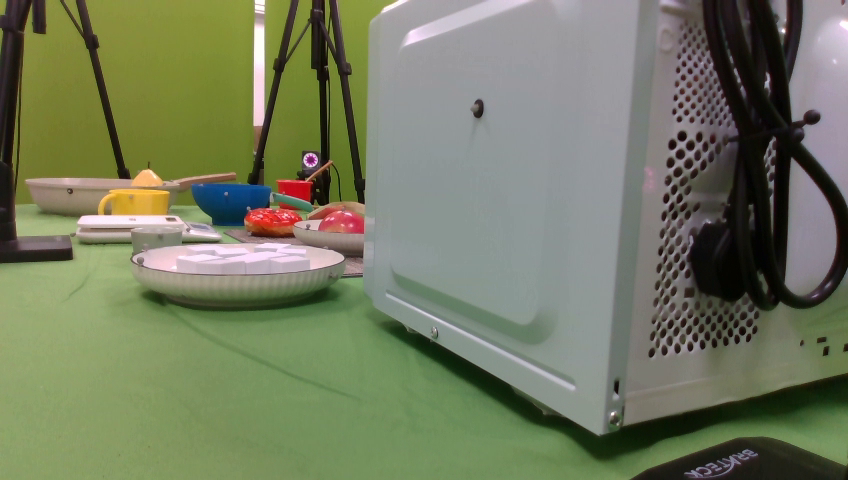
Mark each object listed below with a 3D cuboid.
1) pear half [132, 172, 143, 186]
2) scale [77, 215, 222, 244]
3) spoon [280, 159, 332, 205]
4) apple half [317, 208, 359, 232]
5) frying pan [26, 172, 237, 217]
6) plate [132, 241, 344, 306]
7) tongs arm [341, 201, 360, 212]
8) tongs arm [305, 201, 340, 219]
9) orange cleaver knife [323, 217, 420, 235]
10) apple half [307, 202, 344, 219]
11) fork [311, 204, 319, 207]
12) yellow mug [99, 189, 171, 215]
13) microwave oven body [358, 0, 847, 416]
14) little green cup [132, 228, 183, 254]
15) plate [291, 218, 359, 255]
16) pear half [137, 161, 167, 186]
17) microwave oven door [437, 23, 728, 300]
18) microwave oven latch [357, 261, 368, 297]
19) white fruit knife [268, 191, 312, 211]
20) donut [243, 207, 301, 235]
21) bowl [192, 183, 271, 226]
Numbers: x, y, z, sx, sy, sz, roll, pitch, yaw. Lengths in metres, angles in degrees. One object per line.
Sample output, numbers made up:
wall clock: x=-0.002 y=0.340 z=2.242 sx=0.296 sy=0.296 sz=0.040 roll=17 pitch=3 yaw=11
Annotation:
pear half: x=-0.638 y=-0.113 z=1.361 sx=0.031 sy=0.088 sz=0.070 roll=5 pitch=11 yaw=4
scale: x=-0.434 y=-0.019 z=0.963 sx=0.202 sy=0.031 sz=0.148 roll=-1 pitch=9 yaw=-27
spoon: x=-0.316 y=-0.159 z=1.640 sx=0.194 sy=0.022 sz=0.041 roll=-50 pitch=32 yaw=-20
apple half: x=-0.122 y=-0.020 z=0.901 sx=0.080 sy=0.053 sz=0.075 roll=5 pitch=11 yaw=22
frying pan: x=-0.624 y=-0.118 z=1.387 sx=0.305 sy=0.102 sz=0.490 roll=8 pitch=17 yaw=32
plate: x=-0.187 y=0.033 z=0.625 sx=0.208 sy=0.039 sz=0.207 roll=2 pitch=8 yaw=0
tongs arm: x=-0.149 y=-0.069 z=1.429 sx=0.051 sy=0.026 sz=0.383 roll=-4 pitch=8 yaw=-15
tongs arm: x=-0.235 y=-0.067 z=1.414 sx=0.028 sy=0.028 sz=0.387 roll=-5 pitch=7 yaw=1
orange cleaver knife: x=-0.096 y=-0.028 z=1.151 sx=0.077 sy=0.012 sz=0.212 roll=8 pitch=14 yaw=41
apple half: x=-0.193 y=-0.047 z=1.223 sx=0.081 sy=0.032 sz=0.081 roll=-22 pitch=-6 yaw=-2
fork: x=-0.356 y=-0.105 z=1.526 sx=0.208 sy=0.018 sz=0.028 roll=16 pitch=-5 yaw=-41
yellow mug: x=-0.518 y=-0.055 z=1.080 sx=0.099 sy=0.064 sz=0.131 roll=7 pitch=9 yaw=26
microwave oven body: x=0.211 y=-0.047 z=0.474 sx=0.444 sy=0.260 sz=0.324 roll=-1 pitch=7 yaw=-28
little green cup: x=-0.342 y=0.006 z=0.779 sx=0.061 sy=0.038 sz=0.061 roll=2 pitch=8 yaw=0
plate: x=-0.098 y=-0.007 z=0.928 sx=0.209 sy=0.038 sz=0.209 roll=2 pitch=8 yaw=0
pear half: x=-0.602 y=-0.120 z=1.354 sx=0.056 sy=0.110 sz=0.076 roll=4 pitch=11 yaw=6
microwave oven door: x=0.181 y=-0.072 z=0.621 sx=0.358 sy=0.243 sz=0.039 roll=-2 pitch=8 yaw=-29
microwave oven latch: x=-0.019 y=0.033 z=0.530 sx=0.079 sy=0.029 sz=0.030 roll=-1 pitch=7 yaw=-26
white fruit knife: x=-0.364 y=-0.105 z=1.464 sx=0.208 sy=0.027 sz=0.016 roll=15 pitch=0 yaw=-34
donut: x=-0.261 y=-0.032 z=1.043 sx=0.099 sy=0.048 sz=0.099 roll=4 pitch=9 yaw=0
bowl: x=-0.382 y=-0.071 z=1.202 sx=0.151 sy=0.077 sz=0.151 roll=3 pitch=7 yaw=0
